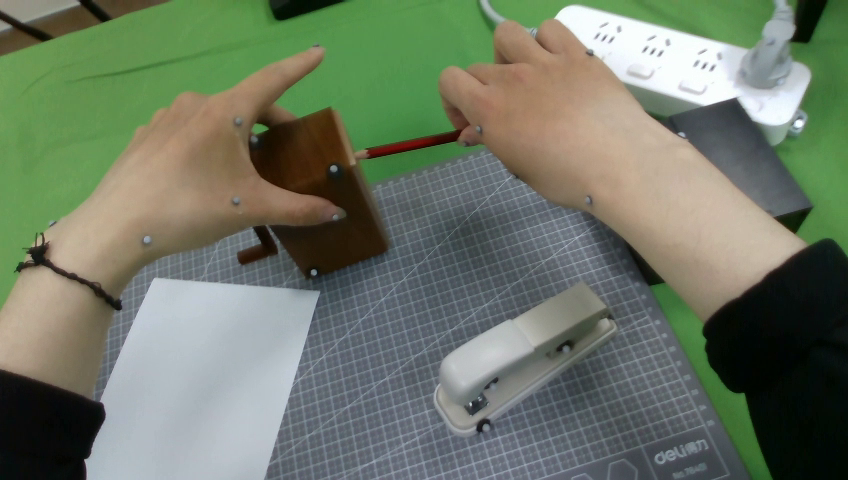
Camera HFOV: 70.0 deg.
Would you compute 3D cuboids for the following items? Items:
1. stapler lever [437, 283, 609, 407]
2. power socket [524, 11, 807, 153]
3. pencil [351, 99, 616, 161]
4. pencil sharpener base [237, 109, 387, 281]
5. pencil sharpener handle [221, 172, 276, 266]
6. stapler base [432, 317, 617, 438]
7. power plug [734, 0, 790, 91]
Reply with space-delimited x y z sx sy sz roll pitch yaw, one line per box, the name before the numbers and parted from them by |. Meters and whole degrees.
stapler lever | 0.061 0.062 0.374 0.118 0.040 0.026 -31 59 -11
power socket | 0.193 -0.135 0.499 0.225 0.033 0.072 25 65 24
pencil | 0.039 -0.074 0.416 0.194 0.012 0.012 -12 57 -5
pencil sharpener base | -0.079 -0.028 0.435 0.077 0.108 0.060 -21 57 -2
pencil sharpener handle | -0.127 -0.012 0.419 0.030 0.068 0.035 -21 35 -2
stapler base | 0.064 0.077 0.394 0.130 0.024 0.041 -31 59 -11
power plug | 0.266 -0.141 0.461 0.035 0.053 0.072 35 71 27
